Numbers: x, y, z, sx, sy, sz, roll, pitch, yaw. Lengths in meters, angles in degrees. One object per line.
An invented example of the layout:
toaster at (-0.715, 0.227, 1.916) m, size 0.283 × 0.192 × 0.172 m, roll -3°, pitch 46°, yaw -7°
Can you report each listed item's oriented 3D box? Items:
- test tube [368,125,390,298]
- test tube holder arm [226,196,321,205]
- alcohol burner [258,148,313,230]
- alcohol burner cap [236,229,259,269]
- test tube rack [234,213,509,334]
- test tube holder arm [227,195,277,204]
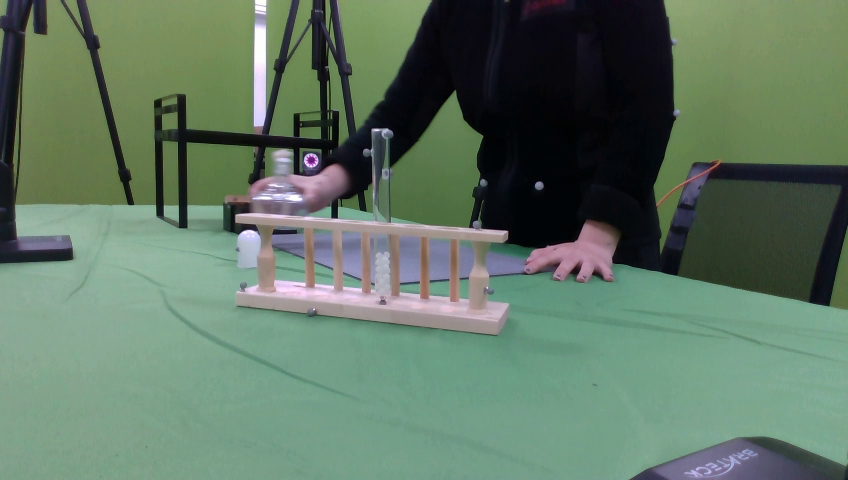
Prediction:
test tube at (-0.038, -0.022, 0.518) m, size 0.017 × 0.150 × 0.017 m, roll 0°, pitch 12°, yaw 0°
test tube holder arm at (-0.274, -0.074, 1.118) m, size 0.179 × 0.015 × 0.013 m, roll -1°, pitch -7°, yaw -35°
alcohol burner at (-0.202, -0.074, 0.883) m, size 0.078 × 0.119 × 0.078 m, roll 2°, pitch 6°, yaw 0°
alcohol burner cap at (-0.221, 0.010, 0.759) m, size 0.034 × 0.048 × 0.034 m, roll 0°, pitch 12°, yaw 0°
test tube rack at (-0.047, 0.023, 0.547) m, size 0.242 × 0.085 × 0.067 m, roll 4°, pitch 8°, yaw 15°
test tube holder arm at (-0.309, -0.073, 1.088) m, size 0.088 × 0.015 × 0.010 m, roll -1°, pitch -7°, yaw -35°
